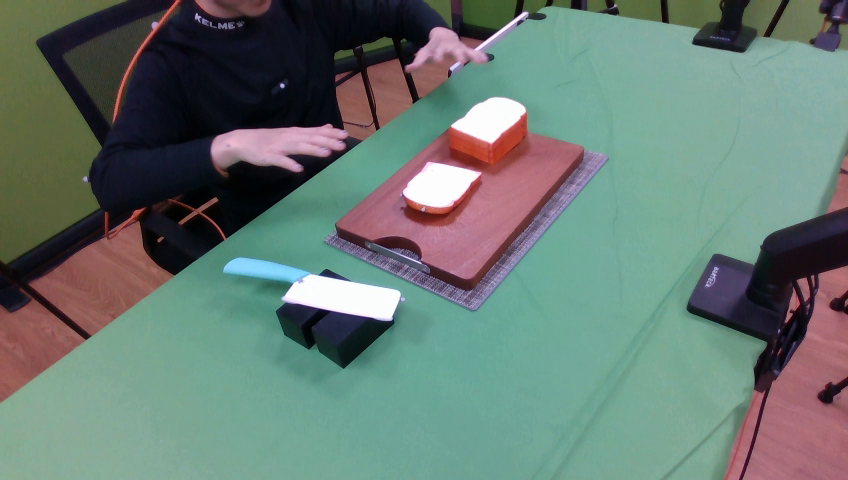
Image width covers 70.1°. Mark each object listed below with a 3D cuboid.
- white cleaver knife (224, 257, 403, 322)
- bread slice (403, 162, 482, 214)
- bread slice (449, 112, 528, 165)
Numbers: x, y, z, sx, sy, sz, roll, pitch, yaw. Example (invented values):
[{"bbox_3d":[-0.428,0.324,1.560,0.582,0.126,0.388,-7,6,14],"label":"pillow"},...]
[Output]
[{"bbox_3d":[-0.165,0.066,0.851,0.285,0.021,0.066,9,43,21],"label":"white cleaver knife"},{"bbox_3d":[0.024,-0.088,1.021,0.104,0.019,0.132,16,41,22],"label":"bread slice"},{"bbox_3d":[0.130,-0.196,1.133,0.134,0.018,0.106,-38,51,-25],"label":"bread slice"}]
